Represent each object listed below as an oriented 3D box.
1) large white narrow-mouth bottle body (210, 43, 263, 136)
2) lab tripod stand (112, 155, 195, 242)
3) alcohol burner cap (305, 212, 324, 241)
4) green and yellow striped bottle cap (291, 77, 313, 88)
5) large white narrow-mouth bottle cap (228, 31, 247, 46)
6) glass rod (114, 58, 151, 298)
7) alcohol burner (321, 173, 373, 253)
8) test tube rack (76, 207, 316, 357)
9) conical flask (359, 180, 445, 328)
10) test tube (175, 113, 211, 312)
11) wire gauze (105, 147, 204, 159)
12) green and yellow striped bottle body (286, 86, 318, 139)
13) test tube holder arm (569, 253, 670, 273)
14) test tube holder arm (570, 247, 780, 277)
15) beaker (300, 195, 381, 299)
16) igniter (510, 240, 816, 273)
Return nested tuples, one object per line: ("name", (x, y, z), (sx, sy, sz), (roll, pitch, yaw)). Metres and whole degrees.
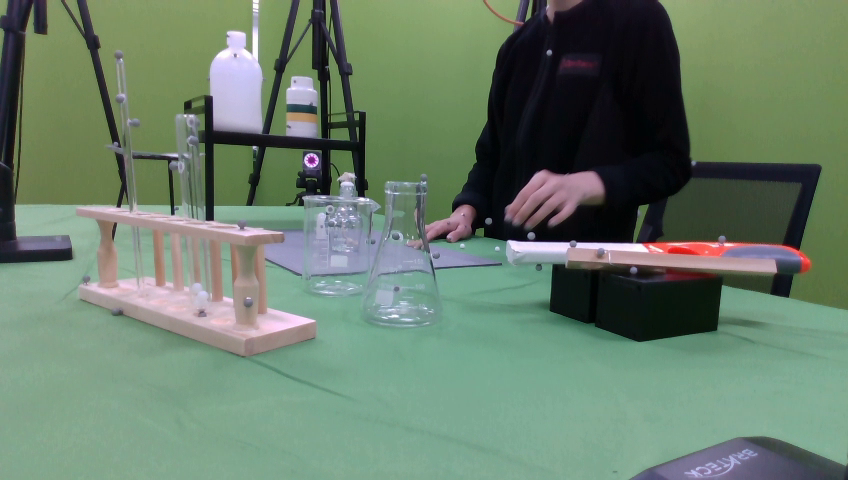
("large white narrow-mouth bottle body", (-0.369, -0.305, 1.194), (0.102, 0.194, 0.102), (3, 8, 0))
("lab tripod stand", (-0.405, -0.064, 0.931), (0.148, 0.131, 0.148), (1, 6, 0))
("alcohol burner cap", (-0.185, -0.023, 1.027), (0.034, 0.048, 0.034), (2, 7, 0))
("green and yellow striped bottle cap", (-0.249, -0.321, 1.237), (0.045, 0.020, 0.045), (3, 5, 0))
("large white narrow-mouth bottle cap", (-0.364, -0.392, 1.180), (0.038, 0.024, 0.037), (3, 8, 0))
("glass rod", (-0.236, -0.044, 0.492), (0.008, 0.199, 0.008), (0, 15, 0))
("alcohol burner", (-0.115, -0.041, 0.905), (0.078, 0.119, 0.078), (1, 6, 0))
("test tube rack", (-0.196, 0.023, 0.500), (0.241, 0.085, 0.067), (8, 9, 36))
("conical flask", (-0.017, 0.010, 0.522), (0.075, 0.122, 0.075), (2, 7, 0))
("test tube", (-0.174, -0.020, 0.458), (0.017, 0.150, 0.017), (-2, 5, 1))
("wire gauze", (-0.407, -0.131, 0.929), (0.125, 0.011, 0.121), (2, 6, -11))
("green and yellow striped bottle body", (-0.251, -0.270, 1.245), (0.063, 0.119, 0.063), (2, 7, 0))
("test tube holder arm", (0.172, 0.019, 0.532), (0.088, 0.015, 0.010), (3, -24, 4))
("test tube holder arm", (0.217, 0.019, 0.525), (0.178, 0.015, 0.013), (3, -24, 3))
("beaker", (-0.087, 0.006, 0.626), (0.084, 0.100, 0.074), (1, 8, -17))
("igniter", (0.220, 0.015, 0.566), (0.277, 0.025, 0.057), (2, 16, 0))
